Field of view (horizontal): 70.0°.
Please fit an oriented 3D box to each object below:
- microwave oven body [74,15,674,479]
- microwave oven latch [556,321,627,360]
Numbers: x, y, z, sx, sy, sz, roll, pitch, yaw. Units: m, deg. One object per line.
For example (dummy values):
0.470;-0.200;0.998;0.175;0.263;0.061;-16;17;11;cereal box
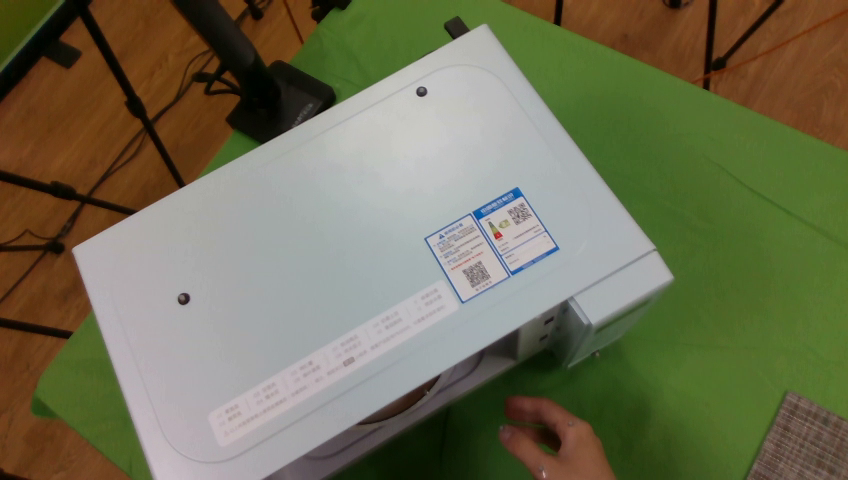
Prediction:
-0.049;0.042;0.631;0.442;0.262;0.323;-30;70;-3;microwave oven body
0.189;0.104;0.682;0.079;0.030;0.030;-29;70;-2;microwave oven latch
